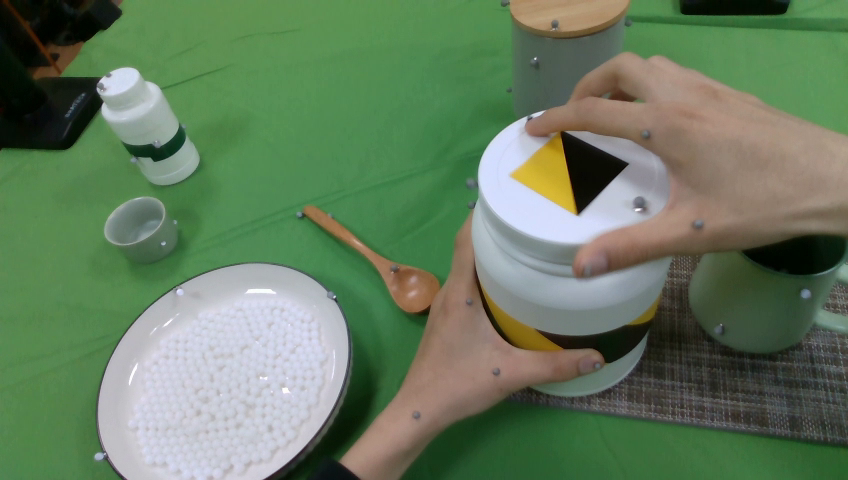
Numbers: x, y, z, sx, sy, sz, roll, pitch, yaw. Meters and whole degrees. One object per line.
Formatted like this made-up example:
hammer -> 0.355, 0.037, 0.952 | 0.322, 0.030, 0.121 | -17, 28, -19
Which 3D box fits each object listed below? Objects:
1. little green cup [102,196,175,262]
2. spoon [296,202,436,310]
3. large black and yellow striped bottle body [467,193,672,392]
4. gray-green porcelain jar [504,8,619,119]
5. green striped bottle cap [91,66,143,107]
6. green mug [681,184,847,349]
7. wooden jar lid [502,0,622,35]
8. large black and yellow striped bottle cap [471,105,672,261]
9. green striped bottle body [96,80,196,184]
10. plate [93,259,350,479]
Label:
little green cup -> -0.284, -0.009, 0.608 | 0.061, 0.039, 0.061 | -4, 52, 6
spoon -> -0.061, 0.007, 0.570 | 0.192, 0.022, 0.041 | 35, 80, 29
large black and yellow striped bottle body -> 0.099, 0.015, 0.432 | 0.130, 0.186, 0.129 | -4, 53, 6
gray-green porcelain jar -> 0.134, -0.176, 0.607 | 0.106, 0.128, 0.105 | -4, 49, 5
green striped bottle cap -> -0.303, -0.152, 0.600 | 0.044, 0.020, 0.044 | -3, 55, 5
green mug -> 0.263, 0.028, 0.446 | 0.124, 0.106, 0.092 | 24, 60, 24
wooden jar lid -> 0.127, -0.217, 0.560 | 0.108, 0.021, 0.107 | -6, 51, 8
large black and yellow striped bottle cap -> 0.086, -0.038, 0.361 | 0.115, 0.019, 0.114 | -5, 50, 7
green striped bottle body -> -0.297, -0.120, 0.641 | 0.063, 0.120, 0.062 | -5, 53, 7
plate -> -0.160, 0.110, 0.500 | 0.209, 0.038, 0.207 | -4, 53, 6
